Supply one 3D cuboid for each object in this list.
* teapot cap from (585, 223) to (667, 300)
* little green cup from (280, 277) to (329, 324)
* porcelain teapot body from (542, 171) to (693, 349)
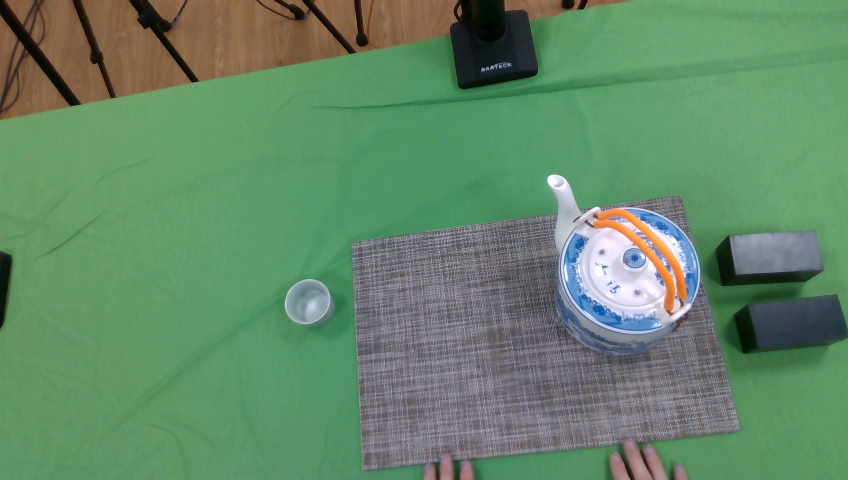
[{"bbox_3d":[0.211,0.020,0.632,0.085,0.044,0.084,-3,68,8],"label":"teapot cap"},{"bbox_3d":[-0.157,0.083,0.810,0.061,0.039,0.061,-3,70,8],"label":"little green cup"},{"bbox_3d":[0.198,0.013,0.678,0.145,0.227,0.204,-39,69,-5],"label":"porcelain teapot body"}]
